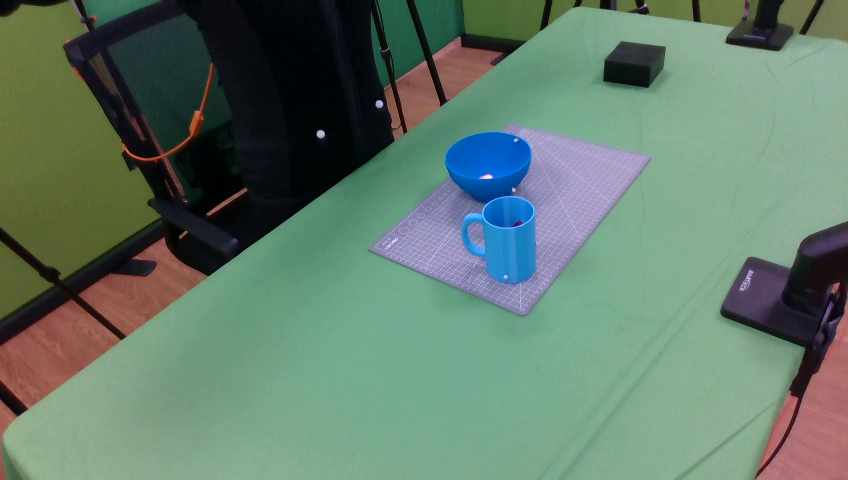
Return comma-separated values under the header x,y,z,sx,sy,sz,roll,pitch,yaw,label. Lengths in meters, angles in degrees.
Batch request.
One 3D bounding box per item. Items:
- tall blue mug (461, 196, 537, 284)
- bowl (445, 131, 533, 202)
x,y,z,sx,sy,sz,roll,pitch,yaw,label
0.112,0.002,0.889,0.107,0.108,0.077,-10,41,0,tall blue mug
0.115,-0.119,1.056,0.151,0.077,0.150,-6,40,5,bowl
